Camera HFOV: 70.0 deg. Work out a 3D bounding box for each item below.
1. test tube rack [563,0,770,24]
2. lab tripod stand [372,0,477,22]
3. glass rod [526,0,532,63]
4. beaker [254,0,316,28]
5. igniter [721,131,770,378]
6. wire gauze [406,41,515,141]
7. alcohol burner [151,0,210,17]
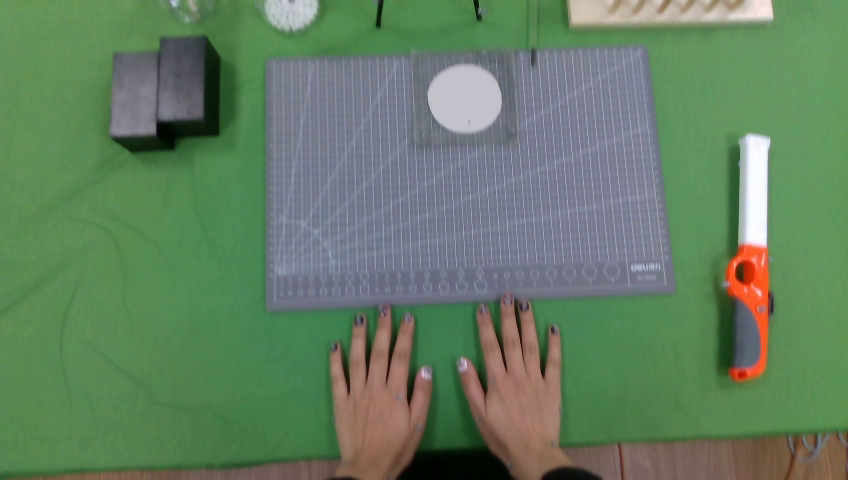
[{"bbox_3d":[0.289,-0.304,0.693,0.242,0.085,0.066,-2,80,-1],"label":"test tube rack"},{"bbox_3d":[-0.004,-0.316,0.666,0.148,0.132,0.147,0,79,1],"label":"lab tripod stand"},{"bbox_3d":[0.127,-0.307,0.728,0.008,0.008,0.199,2,81,-1],"label":"glass rod"},{"bbox_3d":[-0.160,-0.293,0.677,0.084,0.100,0.074,-41,83,-8],"label":"beaker"},{"bbox_3d":[0.356,0.014,0.669,0.057,0.025,0.275,9,80,-10],"label":"igniter"},{"bbox_3d":[0.042,-0.173,0.703,0.125,0.011,0.121,-1,79,0],"label":"wire gauze"},{"bbox_3d":[-0.282,-0.302,0.669,0.078,0.119,0.077,0,78,-1],"label":"alcohol burner"}]
